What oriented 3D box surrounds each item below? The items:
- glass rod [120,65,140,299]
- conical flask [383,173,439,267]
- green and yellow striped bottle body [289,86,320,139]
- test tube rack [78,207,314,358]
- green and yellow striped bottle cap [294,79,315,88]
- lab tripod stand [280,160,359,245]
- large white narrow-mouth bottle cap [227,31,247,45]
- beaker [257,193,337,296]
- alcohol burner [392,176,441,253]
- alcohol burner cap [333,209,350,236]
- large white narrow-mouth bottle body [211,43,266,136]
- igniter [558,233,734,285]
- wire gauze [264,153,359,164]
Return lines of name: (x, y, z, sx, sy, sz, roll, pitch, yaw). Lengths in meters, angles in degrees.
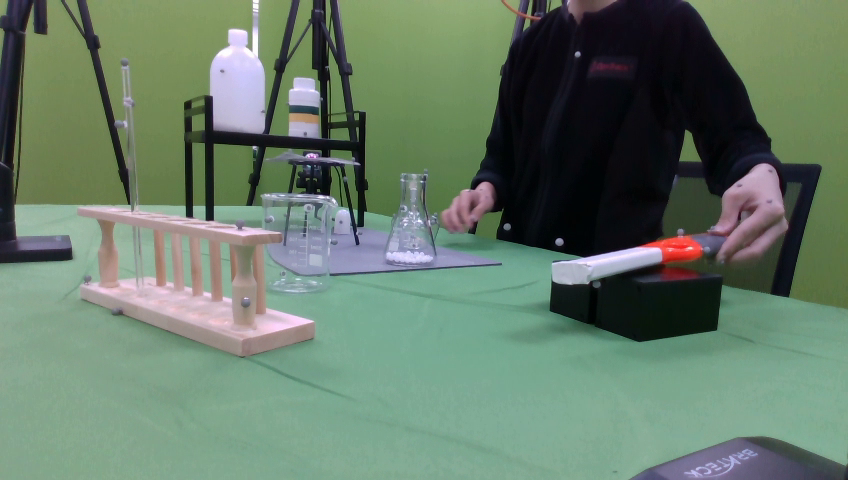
glass rod: (-0.249, -0.047, 0.513, 0.008, 0.199, 0.008, -1, 4, 0)
conical flask: (-0.016, -0.028, 0.808, 0.075, 0.122, 0.075, 2, 8, 0)
green and yellow striped bottle body: (-0.250, -0.272, 1.261, 0.063, 0.119, 0.063, 3, 7, 0)
test tube rack: (-0.196, 0.024, 0.500, 0.241, 0.085, 0.067, 8, 8, 37)
green and yellow striped bottle cap: (-0.248, -0.323, 1.256, 0.045, 0.020, 0.045, 3, 9, 0)
lab tripod stand: (-0.176, -0.062, 0.973, 0.148, 0.131, 0.148, 1, 7, 0)
large white narrow-mouth bottle cap: (-0.361, -0.389, 1.166, 0.038, 0.024, 0.037, 1, 7, 0)
beaker: (-0.130, 0.004, 0.628, 0.084, 0.100, 0.074, 5, 8, 15)
alcohol burner: (-0.012, -0.041, 0.944, 0.078, 0.119, 0.078, 0, 7, 0)
alcohol burner cap: (-0.151, -0.033, 1.116, 0.034, 0.048, 0.034, 4, 7, 0)
large white narrow-mouth bottle body: (-0.361, -0.302, 1.176, 0.102, 0.194, 0.102, 1, 7, 0)
igniter: (0.218, 0.014, 0.564, 0.278, 0.025, 0.057, -7, 4, -42)
wire gauze: (-0.181, -0.130, 0.969, 0.126, 0.011, 0.121, -1, 6, -27)
